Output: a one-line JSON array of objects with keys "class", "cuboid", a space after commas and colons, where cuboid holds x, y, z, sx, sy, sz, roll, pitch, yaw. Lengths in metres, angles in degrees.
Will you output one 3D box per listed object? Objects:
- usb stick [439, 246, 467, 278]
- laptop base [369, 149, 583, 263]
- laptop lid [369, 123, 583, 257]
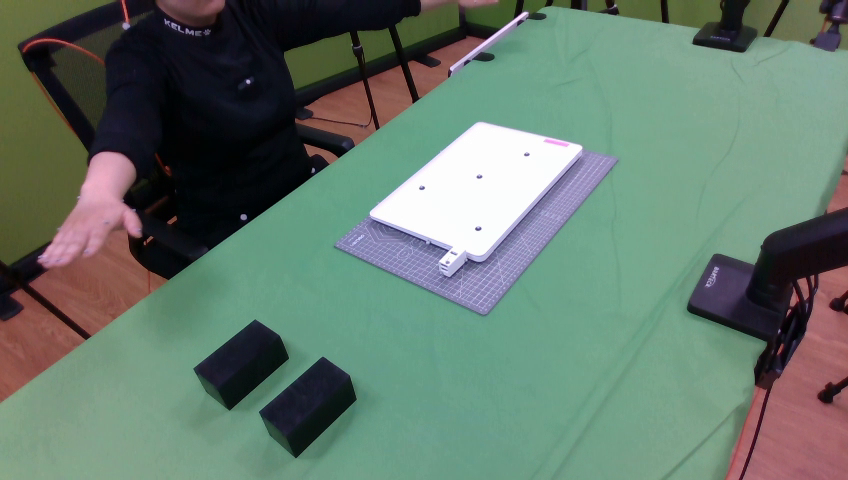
[{"class": "usb stick", "cuboid": [0.048, 0.028, 0.913, 0.021, 0.027, 0.059, 23, 47, 31]}, {"class": "laptop base", "cuboid": [0.101, -0.097, 1.071, 0.233, 0.023, 0.355, 19, 47, 32]}, {"class": "laptop lid", "cuboid": [0.097, -0.106, 1.065, 0.240, 0.013, 0.358, 22, 48, 33]}]
